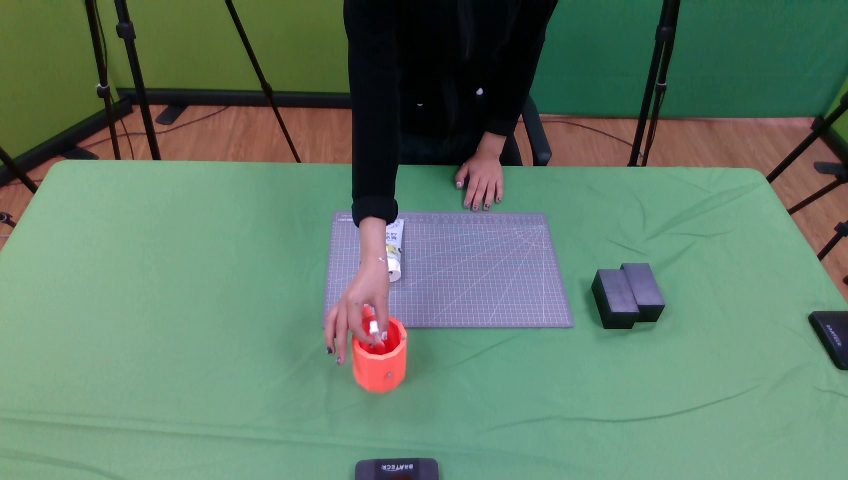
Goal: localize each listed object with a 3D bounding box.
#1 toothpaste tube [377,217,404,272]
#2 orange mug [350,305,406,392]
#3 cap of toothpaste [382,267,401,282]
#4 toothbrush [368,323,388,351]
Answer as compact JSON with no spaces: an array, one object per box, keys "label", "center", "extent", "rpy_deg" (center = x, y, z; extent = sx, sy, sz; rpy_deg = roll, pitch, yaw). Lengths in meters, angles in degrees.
[{"label":"toothpaste tube","center":[-0.063,0.008,1.179],"extent":[0.055,0.034,0.164],"rpy_deg":[5,42,-9]},{"label":"orange mug","center":[-0.080,0.168,0.978],"extent":[0.083,0.101,0.125],"rpy_deg":[-16,54,-18]},{"label":"cap of toothpaste","center":[-0.060,0.063,1.119],"extent":[0.037,0.037,0.011],"rpy_deg":[-9,50,-12]},{"label":"toothbrush","center":[-0.069,0.151,0.928],"extent":[0.014,0.182,0.016],"rpy_deg":[-19,71,-4]}]
